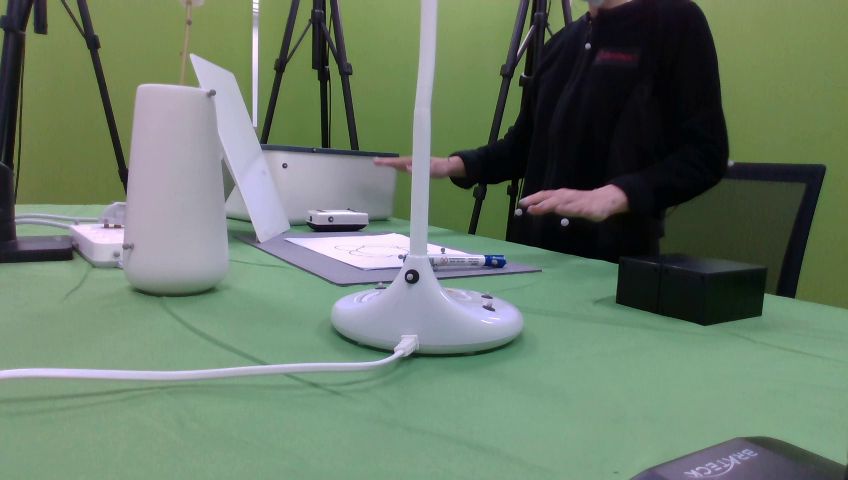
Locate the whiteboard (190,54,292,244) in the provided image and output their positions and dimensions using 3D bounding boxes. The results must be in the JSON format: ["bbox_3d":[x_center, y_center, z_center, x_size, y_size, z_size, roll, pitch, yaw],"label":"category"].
[{"bbox_3d":[-0.364,-0.129,1.028,0.144,0.305,0.217,-18,7,3],"label":"whiteboard"}]

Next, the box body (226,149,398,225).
[{"bbox_3d":[-0.265,-0.129,1.380,0.253,0.160,0.366,8,9,39],"label":"box body"}]

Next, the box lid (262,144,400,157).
[{"bbox_3d":[-0.263,-0.203,1.369,0.262,0.015,0.373,9,10,39],"label":"box lid"}]

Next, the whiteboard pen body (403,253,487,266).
[{"bbox_3d":[0.040,0.026,0.785,0.141,0.017,0.017,1,7,-24],"label":"whiteboard pen body"}]

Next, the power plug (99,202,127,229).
[{"bbox_3d":[-0.415,-0.026,0.848,0.073,0.052,0.035,6,5,-28],"label":"power plug"}]

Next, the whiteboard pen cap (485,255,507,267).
[{"bbox_3d":[0.093,0.028,0.810,0.033,0.018,0.018,1,7,-24],"label":"whiteboard pen cap"}]

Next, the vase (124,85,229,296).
[{"bbox_3d":[-0.244,-0.047,0.598,0.098,0.200,0.098,3,8,0],"label":"vase"}]

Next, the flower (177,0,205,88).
[{"bbox_3d":[-0.243,-0.131,0.609,0.044,0.361,0.038,-5,-12,12],"label":"flower"}]

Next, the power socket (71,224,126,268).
[{"bbox_3d":[-0.409,0.004,0.793,0.072,0.032,0.225,-2,8,-37],"label":"power socket"}]

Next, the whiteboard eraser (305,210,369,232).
[{"bbox_3d":[-0.168,-0.038,1.172,0.113,0.042,0.055,-3,7,-35],"label":"whiteboard eraser"}]

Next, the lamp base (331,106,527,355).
[{"bbox_3d":[0.006,-0.012,0.478,0.161,0.180,0.179,2,10,2],"label":"lamp base"}]
